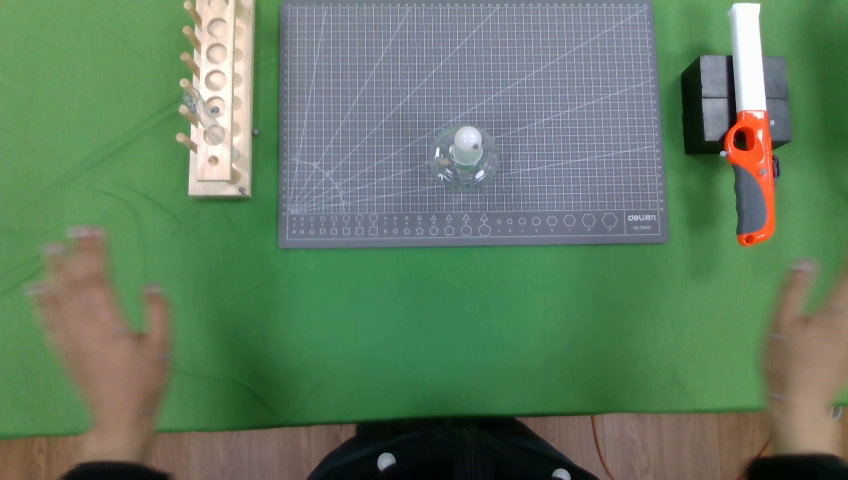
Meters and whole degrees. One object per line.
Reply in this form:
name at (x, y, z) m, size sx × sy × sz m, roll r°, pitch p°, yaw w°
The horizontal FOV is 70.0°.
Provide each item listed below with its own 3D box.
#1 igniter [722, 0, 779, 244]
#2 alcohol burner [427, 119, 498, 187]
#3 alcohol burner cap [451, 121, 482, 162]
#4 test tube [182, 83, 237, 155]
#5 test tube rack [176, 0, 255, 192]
igniter at (0.357, -0.132, 0.666) m, size 0.057 × 0.025 × 0.275 m, roll 2°, pitch 82°, yaw 1°
alcohol burner at (0.043, -0.097, 0.651) m, size 0.078 × 0.119 × 0.077 m, roll 0°, pitch 84°, yaw -1°
alcohol burner cap at (0.044, -0.103, 0.616) m, size 0.034 × 0.048 × 0.033 m, roll 0°, pitch 78°, yaw 1°
test tube at (-0.213, -0.118, 0.611) m, size 0.017 × 0.150 × 0.017 m, roll 1°, pitch 78°, yaw -4°
test tube rack at (-0.233, -0.180, 0.667) m, size 0.067 × 0.085 × 0.241 m, roll 0°, pitch 83°, yaw -1°
